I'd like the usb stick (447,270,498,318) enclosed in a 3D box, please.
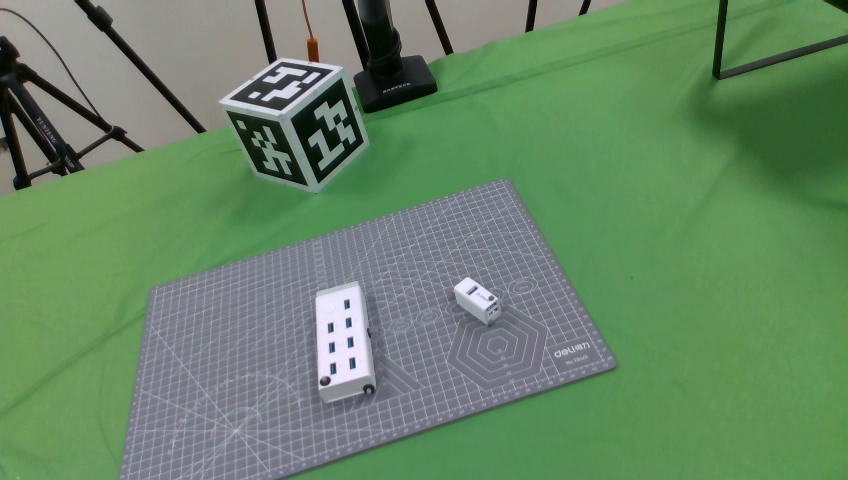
[{"bbox_3d":[0.044,0.049,0.593,0.021,0.027,0.058,-38,44,-20],"label":"usb stick"}]

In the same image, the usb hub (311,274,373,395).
[{"bbox_3d":[-0.083,0.089,0.590,0.049,0.025,0.123,-16,42,1],"label":"usb hub"}]
